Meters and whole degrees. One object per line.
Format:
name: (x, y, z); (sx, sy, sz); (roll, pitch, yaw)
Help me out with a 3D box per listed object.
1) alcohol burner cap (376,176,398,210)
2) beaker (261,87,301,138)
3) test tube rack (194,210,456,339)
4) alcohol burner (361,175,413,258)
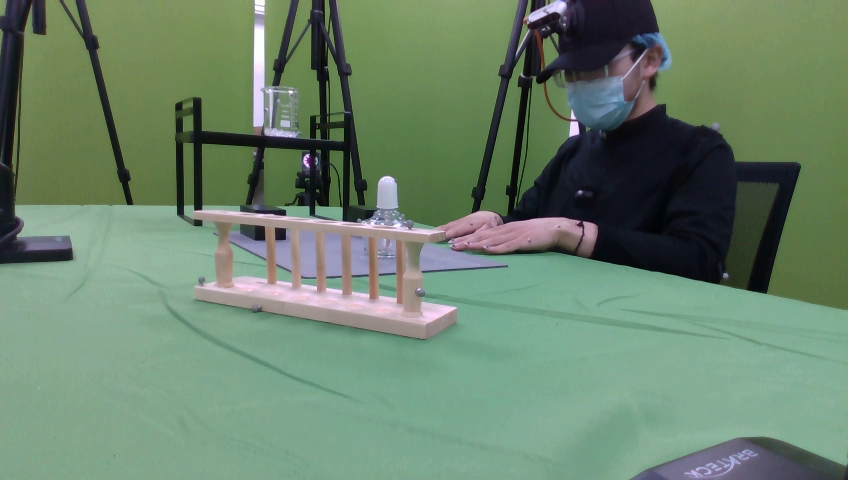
alcohol burner cap: (-0.053, -0.069, 0.867); (0.034, 0.048, 0.034); (2, 14, 0)
beaker: (-0.298, -0.263, 1.255); (0.084, 0.100, 0.073); (-5, 10, -40)
test tube rack: (-0.093, 0.023, 0.545); (0.241, 0.085, 0.067); (6, 8, 25)
alcohol burner: (-0.054, -0.034, 0.871); (0.078, 0.119, 0.078); (1, 8, 0)
